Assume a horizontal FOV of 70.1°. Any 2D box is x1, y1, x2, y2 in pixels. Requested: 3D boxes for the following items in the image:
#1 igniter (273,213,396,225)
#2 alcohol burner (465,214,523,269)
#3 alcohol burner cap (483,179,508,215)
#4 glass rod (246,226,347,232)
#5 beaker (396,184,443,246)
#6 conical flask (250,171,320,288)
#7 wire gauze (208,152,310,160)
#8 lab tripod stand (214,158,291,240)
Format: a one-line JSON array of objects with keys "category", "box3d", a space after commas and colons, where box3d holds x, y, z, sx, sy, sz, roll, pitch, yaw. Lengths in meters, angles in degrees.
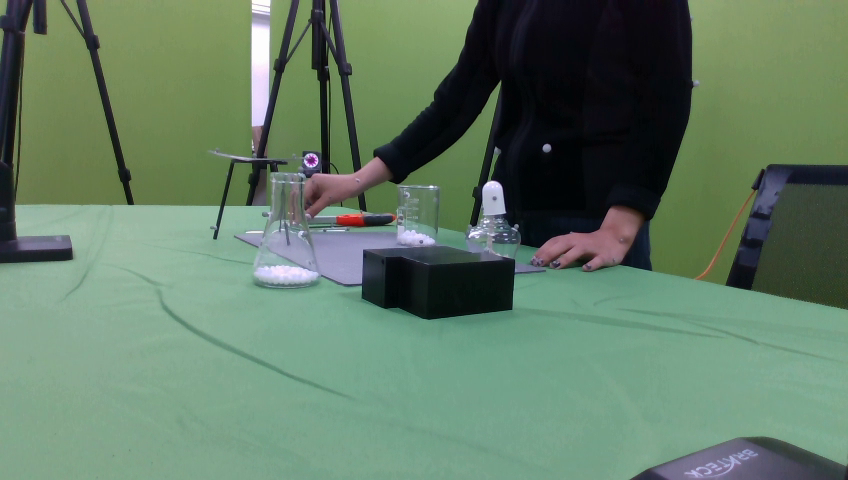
[{"category": "igniter", "box3d": [-0.178, -0.044, 1.258, 0.278, 0.025, 0.057, -3, -1, -39]}, {"category": "alcohol burner", "box3d": [0.094, -0.022, 0.815, 0.078, 0.119, 0.078, 0, 7, 0]}, {"category": "alcohol burner cap", "box3d": [0.094, -0.057, 0.810, 0.034, 0.048, 0.034, -8, 6, 1]}, {"category": "glass rod", "box3d": [-0.236, -0.021, 1.139, 0.201, 0.008, 0.008, -3, 8, -34]}, {"category": "beaker", "box3d": [-0.011, -0.043, 1.004, 0.083, 0.100, 0.074, 8, 9, 38]}, {"category": "conical flask", "box3d": [-0.150, -0.013, 0.658, 0.075, 0.122, 0.075, 2, 7, 0]}, {"category": "wire gauze", "box3d": [-0.270, -0.135, 0.994, 0.124, 0.011, 0.122, 8, 8, 41]}, {"category": "lab tripod stand", "box3d": [-0.268, -0.068, 1.002, 0.148, 0.131, 0.148, 3, 6, 0]}]
